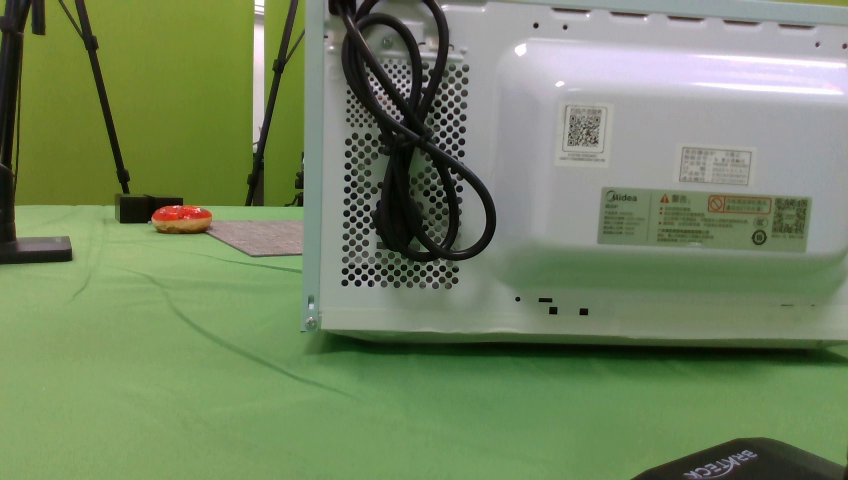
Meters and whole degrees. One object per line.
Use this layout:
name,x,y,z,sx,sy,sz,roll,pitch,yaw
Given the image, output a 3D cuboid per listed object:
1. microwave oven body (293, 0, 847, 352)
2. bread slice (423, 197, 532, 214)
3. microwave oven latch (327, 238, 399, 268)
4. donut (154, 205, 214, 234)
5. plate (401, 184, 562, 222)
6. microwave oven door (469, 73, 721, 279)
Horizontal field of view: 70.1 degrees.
microwave oven body,0.122,-0.055,0.550,0.442,0.260,0.325,3,7,-5
bread slice,0.076,-0.045,0.777,0.105,0.019,0.131,-1,6,-31
microwave oven latch,-0.069,0.015,0.694,0.079,0.029,0.030,3,7,-3
donut,-0.426,-0.037,1.075,0.099,0.048,0.099,2,12,0
plate,0.073,-0.048,0.785,0.208,0.039,0.207,4,6,0
microwave oven door,0.208,-0.093,0.830,0.039,0.243,0.354,-5,10,-44
